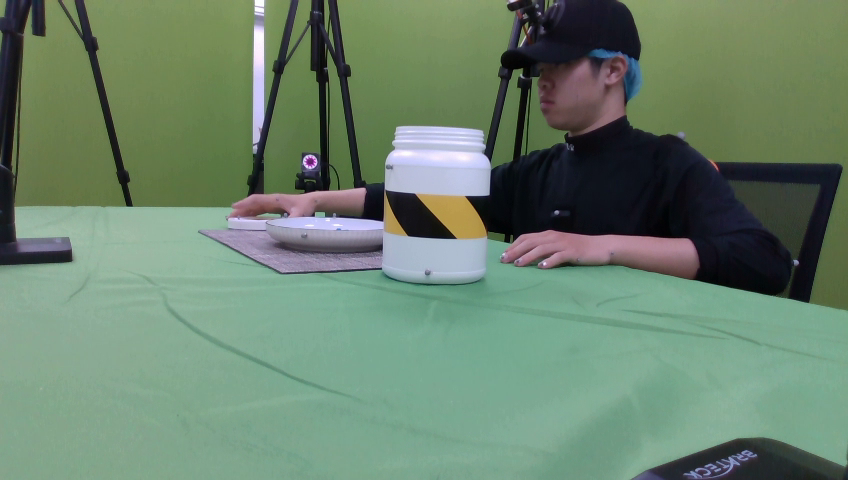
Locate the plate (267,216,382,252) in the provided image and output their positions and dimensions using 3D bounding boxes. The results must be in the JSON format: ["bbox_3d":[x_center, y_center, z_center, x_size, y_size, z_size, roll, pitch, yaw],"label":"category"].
[{"bbox_3d":[-0.144,-0.010,0.967,0.208,0.039,0.207,2,7,0],"label":"plate"}]

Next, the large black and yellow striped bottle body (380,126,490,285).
[{"bbox_3d":[0.013,-0.044,0.747,0.131,0.184,0.130,3,7,0],"label":"large black and yellow striped bottle body"}]

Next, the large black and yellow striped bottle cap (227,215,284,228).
[{"bbox_3d":[-0.320,-0.036,1.169,0.115,0.019,0.115,2,6,0],"label":"large black and yellow striped bottle cap"}]
